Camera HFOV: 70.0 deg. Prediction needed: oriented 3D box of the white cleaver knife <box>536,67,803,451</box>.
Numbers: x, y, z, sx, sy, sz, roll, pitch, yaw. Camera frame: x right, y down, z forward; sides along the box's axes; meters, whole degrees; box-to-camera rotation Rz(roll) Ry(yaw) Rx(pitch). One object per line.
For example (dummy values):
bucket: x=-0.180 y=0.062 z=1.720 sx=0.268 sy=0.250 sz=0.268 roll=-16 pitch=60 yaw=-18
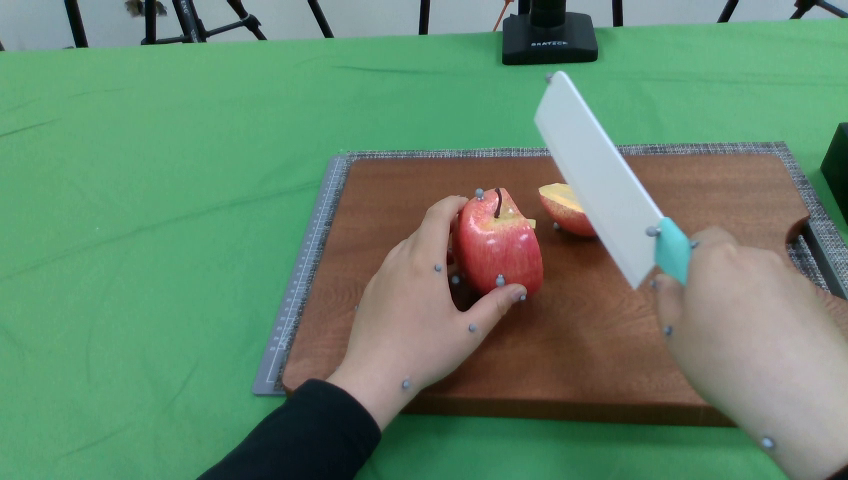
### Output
white cleaver knife: x=0.137 y=-0.004 z=0.385 sx=0.021 sy=0.066 sz=0.283 roll=-9 pitch=54 yaw=-15

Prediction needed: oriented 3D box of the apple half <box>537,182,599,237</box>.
apple half: x=0.124 y=-0.020 z=0.487 sx=0.081 sy=0.033 sz=0.080 roll=8 pitch=23 yaw=-3

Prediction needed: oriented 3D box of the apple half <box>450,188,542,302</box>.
apple half: x=0.046 y=0.008 z=0.443 sx=0.053 sy=0.075 sz=0.080 roll=-19 pitch=48 yaw=-7
